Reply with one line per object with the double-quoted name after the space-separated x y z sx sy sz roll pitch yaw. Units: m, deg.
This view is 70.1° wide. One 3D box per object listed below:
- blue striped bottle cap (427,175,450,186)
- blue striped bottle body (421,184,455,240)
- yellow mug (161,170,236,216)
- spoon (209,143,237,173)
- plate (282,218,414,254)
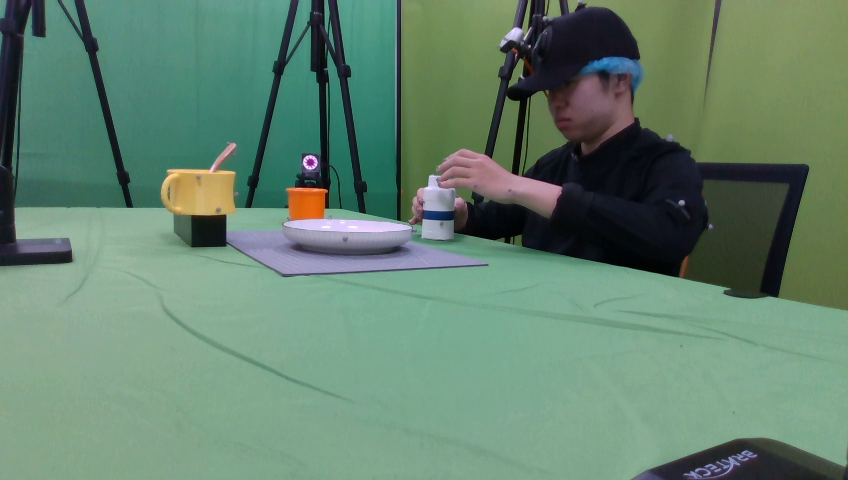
0.028 -0.113 1.150 0.044 0.020 0.044 5 7 0 "blue striped bottle cap"
0.027 -0.063 1.157 0.063 0.120 0.063 2 8 0 "blue striped bottle body"
-0.354 -0.074 0.935 0.099 0.064 0.131 5 9 21 "yellow mug"
-0.341 -0.113 0.990 0.041 0.021 0.193 1 39 6 "spoon"
-0.121 -0.007 0.971 0.208 0.039 0.207 2 7 0 "plate"
